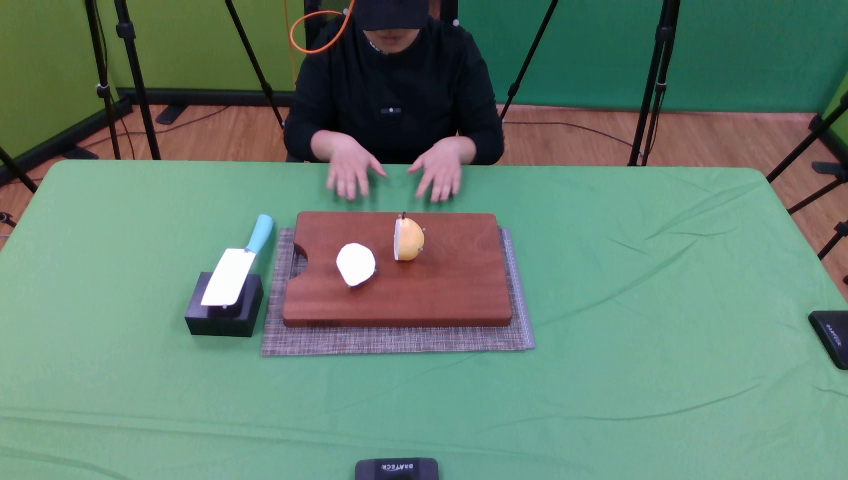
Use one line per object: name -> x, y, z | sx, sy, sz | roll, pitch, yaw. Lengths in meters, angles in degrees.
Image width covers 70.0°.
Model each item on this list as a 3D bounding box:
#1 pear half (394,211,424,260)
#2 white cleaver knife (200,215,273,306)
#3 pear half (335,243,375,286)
pear half -> -0.027, -0.013, 1.109 | 0.056, 0.110, 0.076 | -7, 51, -10
white cleaver knife -> -0.335, 0.029, 1.101 | 0.066, 0.021, 0.285 | 6, 32, -1
pear half -> -0.127, 0.049, 1.093 | 0.070, 0.031, 0.087 | 17, 59, -8
